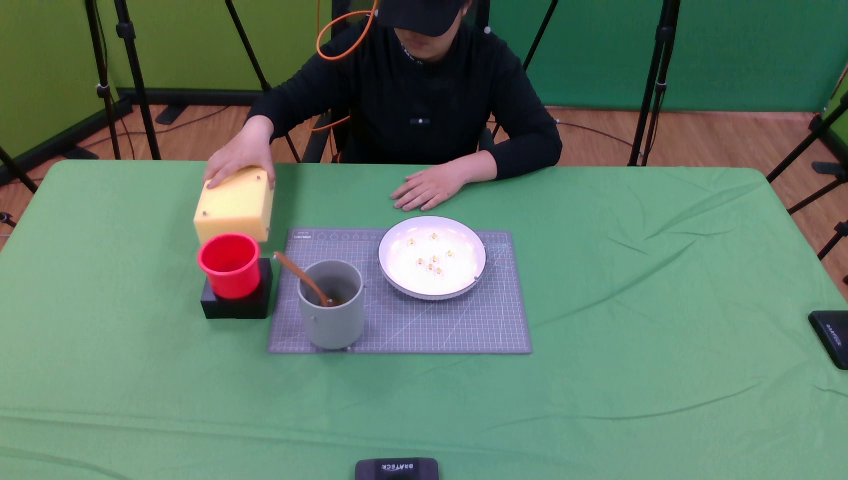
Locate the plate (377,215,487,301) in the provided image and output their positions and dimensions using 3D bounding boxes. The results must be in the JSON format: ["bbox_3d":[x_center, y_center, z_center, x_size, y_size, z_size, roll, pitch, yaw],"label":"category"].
[{"bbox_3d":[0.015,0.037,1.147,0.208,0.039,0.206,2,46,-2],"label":"plate"}]

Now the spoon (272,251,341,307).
[{"bbox_3d":[-0.180,0.077,0.982,0.021,0.195,0.041,-8,46,28],"label":"spoon"}]

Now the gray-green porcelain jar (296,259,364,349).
[{"bbox_3d":[-0.152,0.111,1.003,0.106,0.127,0.105,2,46,-2],"label":"gray-green porcelain jar"}]

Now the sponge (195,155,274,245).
[{"bbox_3d":[-0.359,-0.081,1.168,0.118,0.061,0.205,-5,40,-5],"label":"sponge"}]
